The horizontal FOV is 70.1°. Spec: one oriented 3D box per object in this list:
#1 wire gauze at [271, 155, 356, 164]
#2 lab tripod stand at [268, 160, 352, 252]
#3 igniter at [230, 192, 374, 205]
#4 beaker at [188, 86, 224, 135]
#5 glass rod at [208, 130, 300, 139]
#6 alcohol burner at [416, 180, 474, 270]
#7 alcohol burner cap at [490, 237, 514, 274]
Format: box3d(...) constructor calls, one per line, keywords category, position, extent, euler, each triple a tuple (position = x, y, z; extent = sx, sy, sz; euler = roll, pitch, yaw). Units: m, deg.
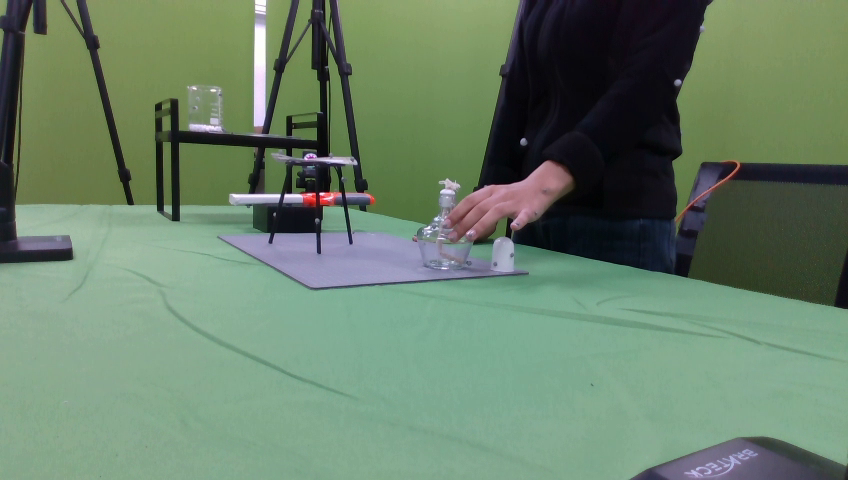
box3d(category="wire gauze", position=(-0.167, -0.122, 0.917), extent=(0.125, 0.011, 0.121), euler=(0, 7, -9))
box3d(category="lab tripod stand", position=(-0.171, -0.055, 0.921), extent=(0.148, 0.131, 0.148), euler=(1, 8, 0))
box3d(category="igniter", position=(-0.228, -0.079, 1.164), extent=(0.278, 0.025, 0.057), euler=(-2, 15, -30))
box3d(category="beaker", position=(-0.474, -0.280, 1.311), extent=(0.074, 0.100, 0.084), euler=(5, 8, 26))
box3d(category="glass rod", position=(-0.367, -0.231, 1.321), extent=(0.201, 0.008, 0.008), euler=(-1, 8, -30))
box3d(category="alcohol burner", position=(0.029, -0.020, 0.798), extent=(0.078, 0.119, 0.078), euler=(4, 5, 0))
box3d(category="alcohol burner cap", position=(0.104, 0.020, 0.793), extent=(0.034, 0.048, 0.034), euler=(2, 6, 0))
